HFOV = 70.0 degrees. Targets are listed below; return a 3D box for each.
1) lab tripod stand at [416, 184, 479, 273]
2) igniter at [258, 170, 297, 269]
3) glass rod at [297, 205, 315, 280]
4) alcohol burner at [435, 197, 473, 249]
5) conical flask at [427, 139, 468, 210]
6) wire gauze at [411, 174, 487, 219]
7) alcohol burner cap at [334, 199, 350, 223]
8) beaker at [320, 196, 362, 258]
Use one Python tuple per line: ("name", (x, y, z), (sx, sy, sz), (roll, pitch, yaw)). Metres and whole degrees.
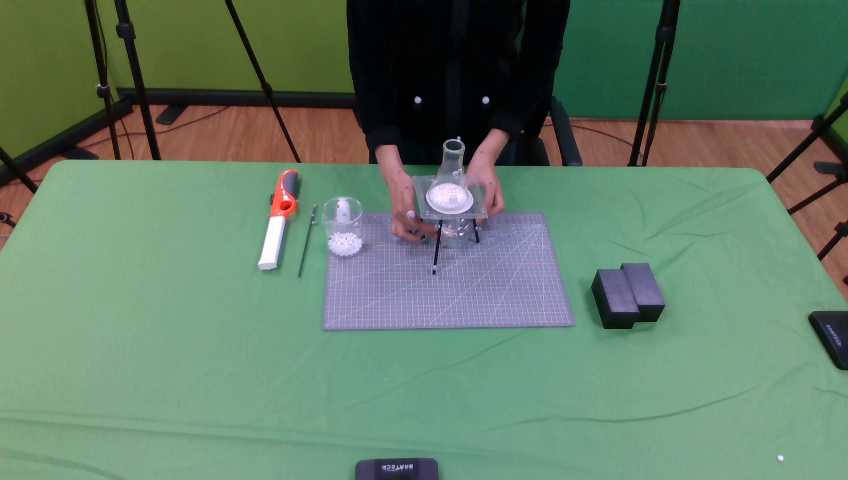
("lab tripod stand", (0.042, -0.031, 1.152), (0.148, 0.132, 0.147), (3, 44, -3))
("igniter", (-0.294, -0.050, 1.221), (0.057, 0.025, 0.274), (-5, 45, 4))
("glass rod", (-0.231, 0.001, 1.191), (0.008, 0.008, 0.198), (2, 46, -1))
("alcohol burner", (0.060, -0.040, 1.176), (0.078, 0.119, 0.077), (3, 48, -3))
("conical flask", (0.046, -0.117, 1.061), (0.075, 0.122, 0.075), (3, 46, -3))
("wire gauze", (0.044, -0.079, 1.107), (0.125, 0.011, 0.120), (-4, 44, -6))
("alcohol burner cap", (-0.167, -0.061, 1.228), (0.034, 0.048, 0.033), (2, 46, -2))
("beaker", (-0.156, -0.021, 1.150), (0.084, 0.101, 0.073), (-30, 55, -28))
